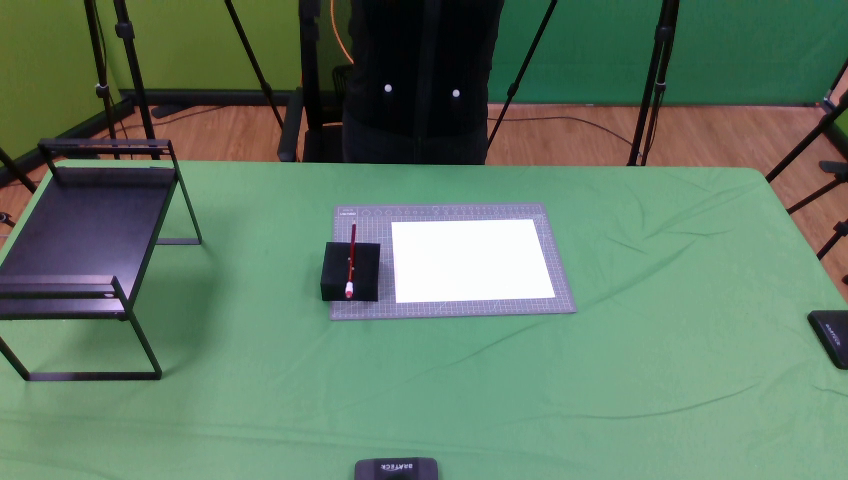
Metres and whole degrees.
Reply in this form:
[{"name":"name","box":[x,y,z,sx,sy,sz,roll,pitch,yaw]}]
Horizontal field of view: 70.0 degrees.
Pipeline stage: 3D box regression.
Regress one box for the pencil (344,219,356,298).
[{"name":"pencil","box":[-0.132,0.028,1.097,0.012,0.012,0.193,1,46,-3]}]
